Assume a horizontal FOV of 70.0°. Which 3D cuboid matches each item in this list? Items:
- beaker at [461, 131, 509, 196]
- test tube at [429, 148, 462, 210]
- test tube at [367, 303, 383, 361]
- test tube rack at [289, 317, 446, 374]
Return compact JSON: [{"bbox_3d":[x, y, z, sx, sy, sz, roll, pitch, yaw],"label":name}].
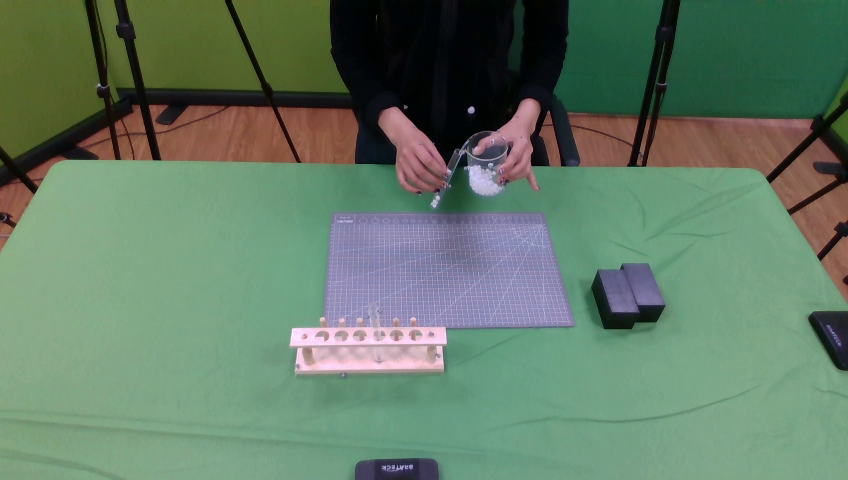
[{"bbox_3d":[0.110,-0.134,1.089,0.084,0.101,0.073,-2,51,4],"label":"beaker"},{"bbox_3d":[0.038,-0.110,1.115,0.017,0.151,0.017,12,46,-13],"label":"test tube"},{"bbox_3d":[-0.075,0.146,0.941,0.017,0.151,0.017,0,49,0],"label":"test tube"},{"bbox_3d":[-0.089,0.167,0.987,0.242,0.085,0.066,0,46,-4],"label":"test tube rack"}]
